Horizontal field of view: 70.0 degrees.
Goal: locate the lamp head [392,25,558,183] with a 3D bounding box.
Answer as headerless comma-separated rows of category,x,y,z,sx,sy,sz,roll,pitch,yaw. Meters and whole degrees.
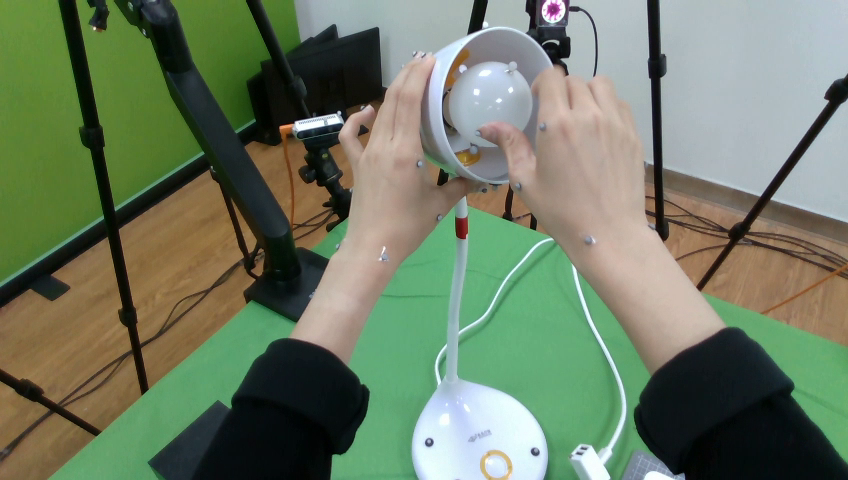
lamp head,0.029,-0.102,0.487,0.112,0.113,0.122,-27,16,-25

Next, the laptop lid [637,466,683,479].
laptop lid,0.340,0.377,0.546,0.354,0.013,0.241,21,49,24

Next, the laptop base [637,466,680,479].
laptop base,0.342,0.384,0.556,0.352,0.023,0.234,20,50,22

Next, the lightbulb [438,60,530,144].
lightbulb,0.037,-0.103,0.461,0.059,0.060,0.107,-22,18,-21

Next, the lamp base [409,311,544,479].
lamp base,0.052,0.176,0.674,0.161,0.182,0.177,-26,44,-25

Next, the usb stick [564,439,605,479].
usb stick,0.184,0.256,0.681,0.027,0.059,0.021,-31,7,-34
